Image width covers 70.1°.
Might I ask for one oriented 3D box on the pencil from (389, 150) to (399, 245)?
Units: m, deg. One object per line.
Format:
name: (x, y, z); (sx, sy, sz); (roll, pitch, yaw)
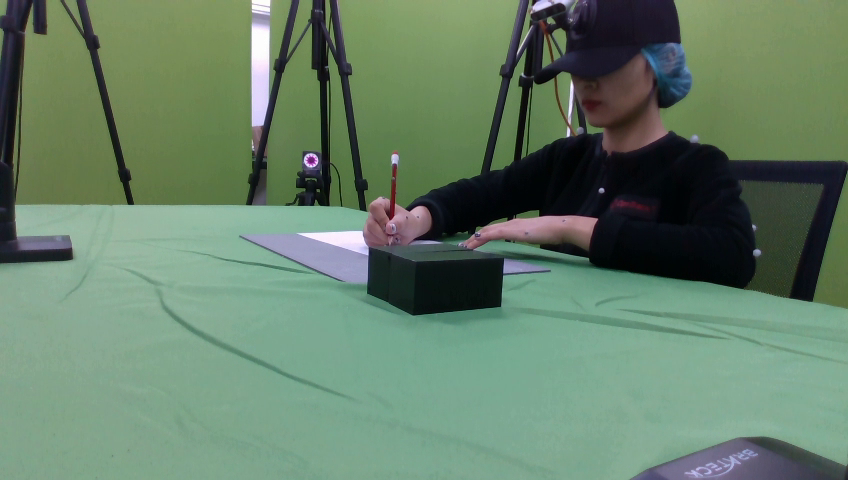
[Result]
pencil: (-0.048, -0.070, 0.943); (0.012, 0.193, 0.012); (0, -37, 0)
